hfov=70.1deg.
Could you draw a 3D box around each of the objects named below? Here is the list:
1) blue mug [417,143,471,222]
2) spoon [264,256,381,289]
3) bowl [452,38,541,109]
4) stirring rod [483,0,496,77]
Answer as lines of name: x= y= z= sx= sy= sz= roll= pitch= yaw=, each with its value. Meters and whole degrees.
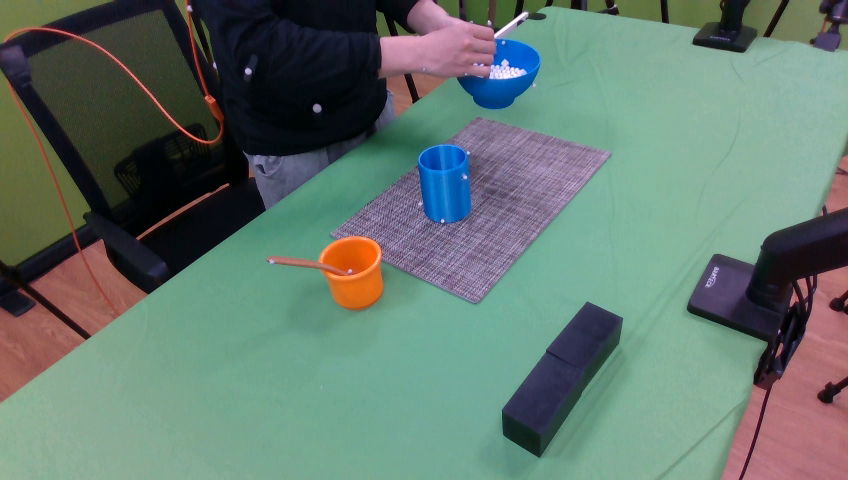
blue mug: x=0.031 y=-0.104 z=1.014 sx=0.082 sy=0.106 sz=0.115 roll=-14 pitch=41 yaw=-7
spoon: x=-0.136 y=0.041 z=0.842 sx=0.021 sy=0.195 sz=0.041 roll=-56 pitch=46 yaw=13
bowl: x=0.123 y=-0.280 z=1.045 sx=0.151 sy=0.077 sz=0.150 roll=-1 pitch=43 yaw=1
stirring rod: x=0.106 y=-0.319 z=0.985 sx=0.006 sy=0.177 sz=0.014 roll=31 pitch=54 yaw=26
